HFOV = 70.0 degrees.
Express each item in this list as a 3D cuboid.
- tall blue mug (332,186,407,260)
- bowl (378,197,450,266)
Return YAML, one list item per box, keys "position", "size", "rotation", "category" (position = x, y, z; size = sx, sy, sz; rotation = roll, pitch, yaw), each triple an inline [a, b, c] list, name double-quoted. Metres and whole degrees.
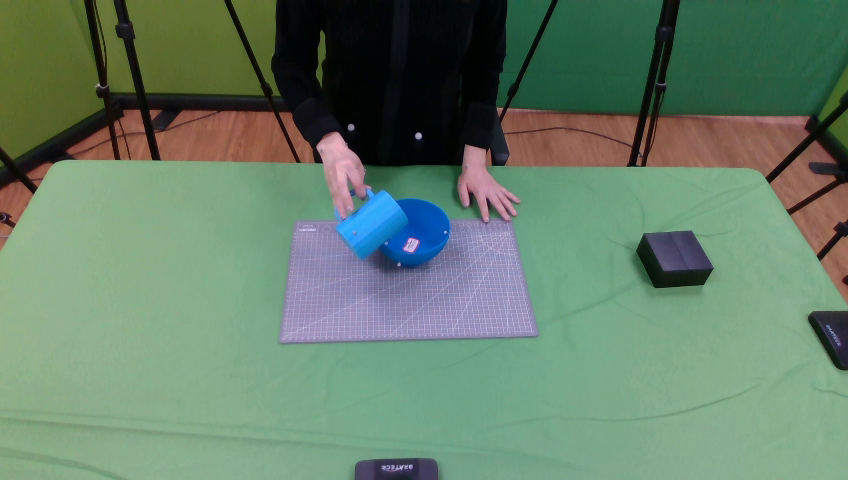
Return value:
- position: [-0.104, -0.039, 1.058]
  size: [0.108, 0.107, 0.077]
  rotation: [-39, 15, -10]
  category: "tall blue mug"
- position: [-0.028, -0.003, 1.156]
  size: [0.151, 0.077, 0.150]
  rotation: [2, 46, -2]
  category: "bowl"
